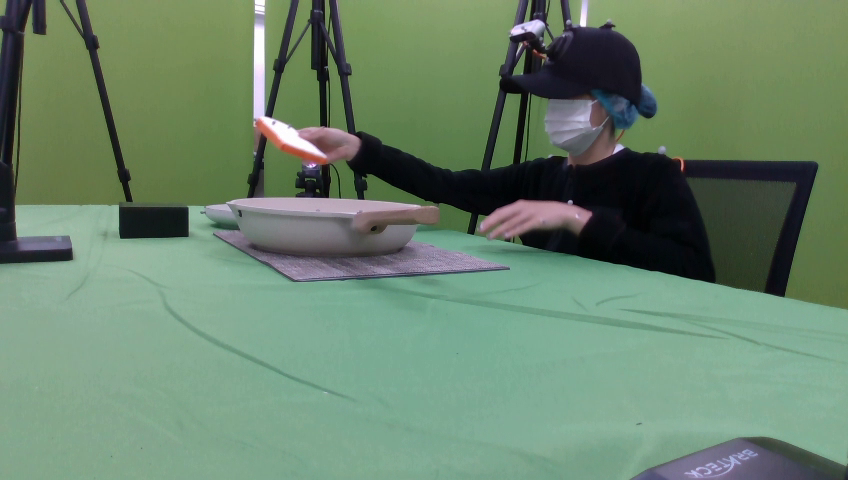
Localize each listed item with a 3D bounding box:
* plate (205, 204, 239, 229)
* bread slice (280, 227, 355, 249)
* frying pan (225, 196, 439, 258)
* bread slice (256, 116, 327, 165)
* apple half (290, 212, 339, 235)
[{"bbox_3d":[-0.324,-0.046,1.199,0.208,0.039,0.207,3,7,0],"label":"plate"},{"bbox_3d":[-0.171,-0.004,0.942,0.107,0.018,0.134,2,8,-15],"label":"bread slice"},{"bbox_3d":[-0.103,-0.027,0.845,0.308,0.102,0.486,-2,0,-25],"label":"frying pan"},{"bbox_3d":[-0.249,-0.187,1.111,0.131,0.019,0.105,44,18,34],"label":"bread slice"},{"bbox_3d":[-0.169,-0.027,0.936,0.081,0.033,0.081,2,10,0],"label":"apple half"}]
